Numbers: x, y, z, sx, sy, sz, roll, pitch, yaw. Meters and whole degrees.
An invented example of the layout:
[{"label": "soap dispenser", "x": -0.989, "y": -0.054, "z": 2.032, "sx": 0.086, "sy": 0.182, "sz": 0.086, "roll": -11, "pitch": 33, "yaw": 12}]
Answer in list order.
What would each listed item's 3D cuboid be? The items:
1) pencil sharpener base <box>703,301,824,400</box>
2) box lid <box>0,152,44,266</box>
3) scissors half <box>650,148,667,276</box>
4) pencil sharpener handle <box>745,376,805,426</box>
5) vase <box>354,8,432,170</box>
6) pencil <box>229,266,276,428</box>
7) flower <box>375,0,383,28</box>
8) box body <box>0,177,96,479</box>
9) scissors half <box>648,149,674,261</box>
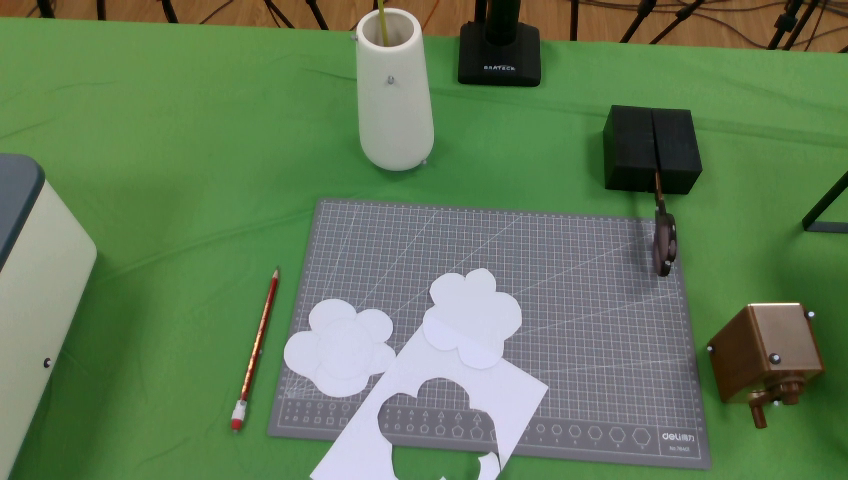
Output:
[{"label": "pencil sharpener base", "x": 0.338, "y": 0.117, "z": 0.613, "sx": 0.061, "sy": 0.108, "sz": 0.076, "roll": 0, "pitch": 60, "yaw": 0}, {"label": "box lid", "x": -0.520, "y": 0.061, "z": 0.524, "sx": 0.263, "sy": 0.015, "sz": 0.368, "roll": 4, "pitch": 59, "yaw": 2}, {"label": "scissors half", "x": 0.280, "y": -0.038, "z": 0.733, "sx": 0.013, "sy": 0.040, "sz": 0.174, "roll": 2, "pitch": 67, "yaw": 10}, {"label": "pencil sharpener handle", "x": 0.335, "y": 0.155, "z": 0.576, "sx": 0.036, "sy": 0.068, "sz": 0.030, "roll": 7, "pitch": 59, "yaw": -12}, {"label": "vase", "x": -0.040, "y": -0.176, "z": 0.733, "sx": 0.098, "sy": 0.201, "sz": 0.097, "roll": 0, "pitch": 58, "yaw": 1}, {"label": "pencil", "x": -0.187, "y": 0.111, "z": 0.673, "sx": 0.012, "sy": 0.012, "sz": 0.192, "roll": 4, "pitch": 58, "yaw": 3}, {"label": "flower", "x": -0.046, "y": -0.231, "z": 0.668, "sx": 0.044, "sy": 0.365, "sz": 0.038, "roll": -3, "pitch": 41, "yaw": 2}, {"label": "box body", "x": -0.520, "y": 0.101, "z": 0.587, "sx": 0.254, "sy": 0.162, "sz": 0.361, "roll": 4, "pitch": 59, "yaw": 2}, {"label": "scissors half", "x": 0.277, "y": -0.048, "z": 0.716, "sx": 0.013, "sy": 0.040, "sz": 0.173, "roll": 4, "pitch": 49, "yaw": 5}]
